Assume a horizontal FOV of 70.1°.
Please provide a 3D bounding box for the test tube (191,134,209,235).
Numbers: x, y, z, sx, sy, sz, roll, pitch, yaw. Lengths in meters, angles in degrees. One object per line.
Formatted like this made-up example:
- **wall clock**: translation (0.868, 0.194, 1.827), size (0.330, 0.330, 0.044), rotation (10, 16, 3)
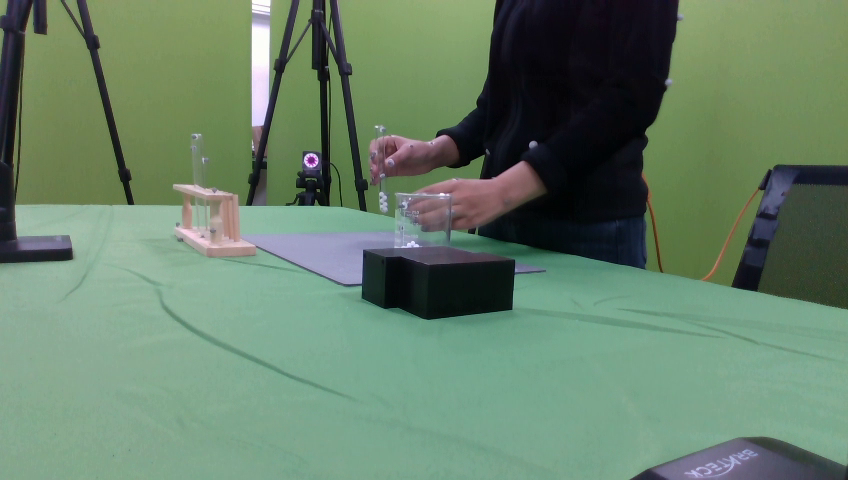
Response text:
- **test tube**: translation (-0.332, -0.082, 0.897), size (0.017, 0.150, 0.017), rotation (-2, 6, 0)

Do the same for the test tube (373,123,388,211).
- **test tube**: translation (-0.072, -0.120, 1.011), size (0.017, 0.150, 0.017), rotation (-2, 19, 1)

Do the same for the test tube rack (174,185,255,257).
- **test tube rack**: translation (-0.324, -0.035, 0.922), size (0.067, 0.085, 0.241), rotation (-2, 9, -32)

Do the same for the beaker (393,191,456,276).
- **beaker**: translation (-0.004, -0.010, 0.749), size (0.074, 0.100, 0.083), rotation (-3, 8, -40)
